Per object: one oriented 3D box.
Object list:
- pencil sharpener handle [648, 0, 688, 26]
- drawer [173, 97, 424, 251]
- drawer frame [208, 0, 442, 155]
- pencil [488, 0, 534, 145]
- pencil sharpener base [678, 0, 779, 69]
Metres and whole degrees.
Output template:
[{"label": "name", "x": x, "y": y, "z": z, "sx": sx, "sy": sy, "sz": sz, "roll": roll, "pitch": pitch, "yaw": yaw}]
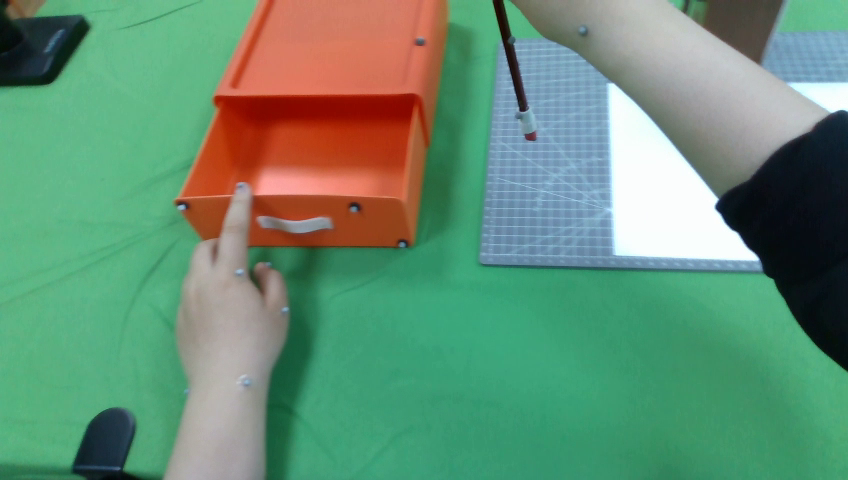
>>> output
[{"label": "pencil sharpener handle", "x": 0.237, "y": -0.235, "z": 0.585, "sx": 0.030, "sy": 0.068, "sz": 0.035, "roll": 2, "pitch": 61, "yaw": 11}, {"label": "drawer", "x": -0.101, "y": -0.091, "z": 0.570, "sx": 0.194, "sy": 0.074, "sz": 0.210, "roll": 0, "pitch": 54, "yaw": 9}, {"label": "drawer frame", "x": -0.091, "y": -0.189, "z": 0.634, "sx": 0.201, "sy": 0.083, "sz": 0.211, "roll": 0, "pitch": 54, "yaw": 9}, {"label": "pencil", "x": 0.050, "y": -0.137, "z": 0.392, "sx": 0.012, "sy": 0.196, "sz": 0.012, "roll": -12, "pitch": 47, "yaw": 13}, {"label": "pencil sharpener base", "x": 0.289, "y": -0.224, "z": 0.584, "sx": 0.076, "sy": 0.108, "sz": 0.061, "roll": 2, "pitch": 56, "yaw": 11}]
